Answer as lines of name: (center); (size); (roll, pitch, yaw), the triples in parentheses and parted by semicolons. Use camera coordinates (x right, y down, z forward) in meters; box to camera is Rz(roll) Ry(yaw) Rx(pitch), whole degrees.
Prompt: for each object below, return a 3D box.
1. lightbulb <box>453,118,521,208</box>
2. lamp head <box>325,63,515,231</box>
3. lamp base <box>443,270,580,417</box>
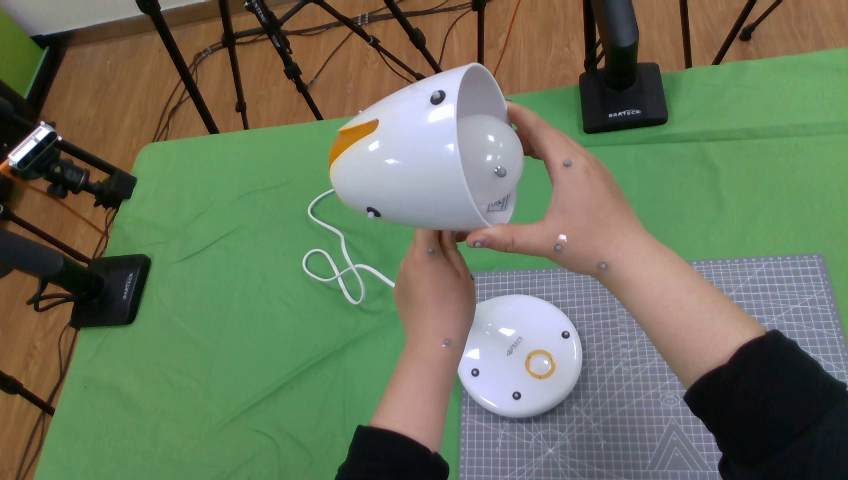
lightbulb: (0.014, -0.047, 0.416); (0.107, 0.060, 0.059); (-9, 59, 30)
lamp head: (-0.005, -0.055, 0.432); (0.122, 0.113, 0.111); (-9, 59, 32)
lamp base: (0.086, 0.103, 0.709); (0.178, 0.182, 0.160); (21, 69, 28)
